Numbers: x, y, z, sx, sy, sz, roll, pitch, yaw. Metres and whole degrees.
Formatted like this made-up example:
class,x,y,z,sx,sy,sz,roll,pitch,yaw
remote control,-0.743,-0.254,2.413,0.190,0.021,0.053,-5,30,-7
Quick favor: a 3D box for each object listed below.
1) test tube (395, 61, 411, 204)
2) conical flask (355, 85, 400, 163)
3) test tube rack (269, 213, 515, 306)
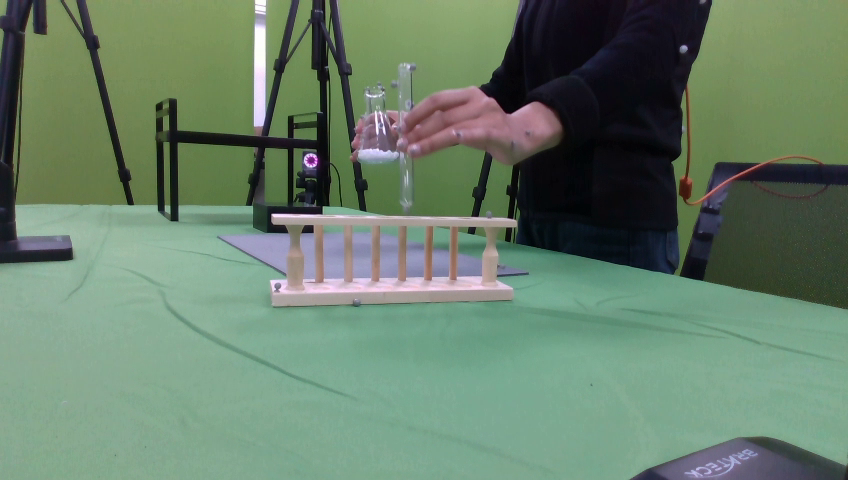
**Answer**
class,x,y,z,sx,sy,sz,roll,pitch,yaw
test tube,-0.021,-0.111,0.621,0.017,0.150,0.017,-1,-7,0
conical flask,-0.080,-0.191,0.999,0.075,0.122,0.075,-4,2,0
test tube rack,-0.033,0.015,0.617,0.243,0.085,0.066,0,7,-17
